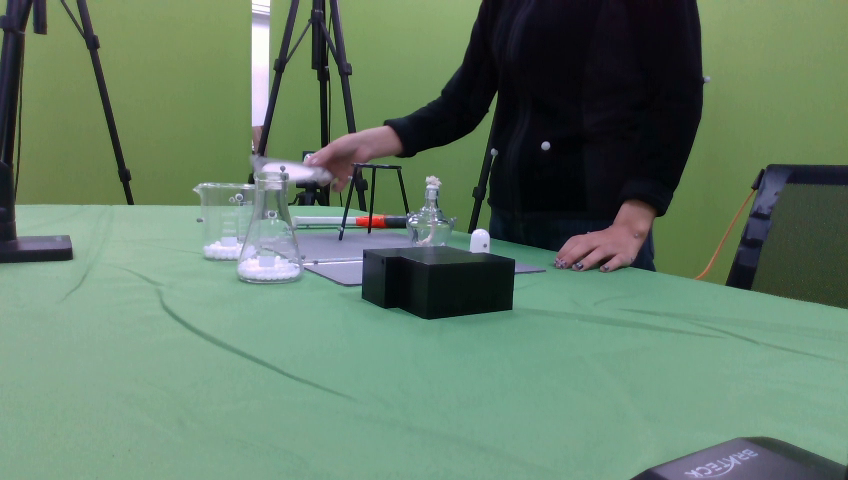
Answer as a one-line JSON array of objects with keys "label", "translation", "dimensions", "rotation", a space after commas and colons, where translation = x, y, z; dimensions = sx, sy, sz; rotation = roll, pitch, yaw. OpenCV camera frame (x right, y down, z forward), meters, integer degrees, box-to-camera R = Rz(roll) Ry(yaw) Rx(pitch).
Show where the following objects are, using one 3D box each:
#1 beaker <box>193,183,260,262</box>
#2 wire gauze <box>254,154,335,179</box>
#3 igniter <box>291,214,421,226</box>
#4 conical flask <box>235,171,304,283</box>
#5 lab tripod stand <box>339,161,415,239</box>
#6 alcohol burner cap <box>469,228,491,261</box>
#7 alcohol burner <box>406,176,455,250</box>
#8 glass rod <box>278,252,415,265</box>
[{"label": "beaker", "translation": [-0.262, -0.025, 0.806], "dimensions": [0.084, 0.100, 0.073], "rotation": [-3, 9, -30]}, {"label": "wire gauze", "translation": [-0.225, -0.127, 1.041], "dimensions": [0.122, 0.011, 0.124], "rotation": [-1, 23, -24]}, {"label": "igniter", "translation": [-0.135, -0.040, 1.250], "dimensions": [0.278, 0.025, 0.057], "rotation": [-2, -3, -28]}, {"label": "conical flask", "translation": [-0.172, -0.016, 0.677], "dimensions": [0.075, 0.122, 0.075], "rotation": [2, 7, 0]}, {"label": "lab tripod stand", "translation": [-0.082, -0.070, 1.059], "dimensions": [0.148, 0.131, 0.148], "rotation": [4, 6, 0]}, {"label": "alcohol burner cap", "translation": [0.082, 0.006, 0.878], "dimensions": [0.034, 0.048, 0.034], "rotation": [2, 6, 0]}, {"label": "alcohol burner", "translation": [0.012, -0.044, 0.963], "dimensions": [0.078, 0.119, 0.078], "rotation": [4, 7, 0]}, {"label": "glass rod", "translation": [-0.097, 0.024, 0.805], "dimensions": [0.201, 0.008, 0.008], "rotation": [-3, 8, -33]}]
